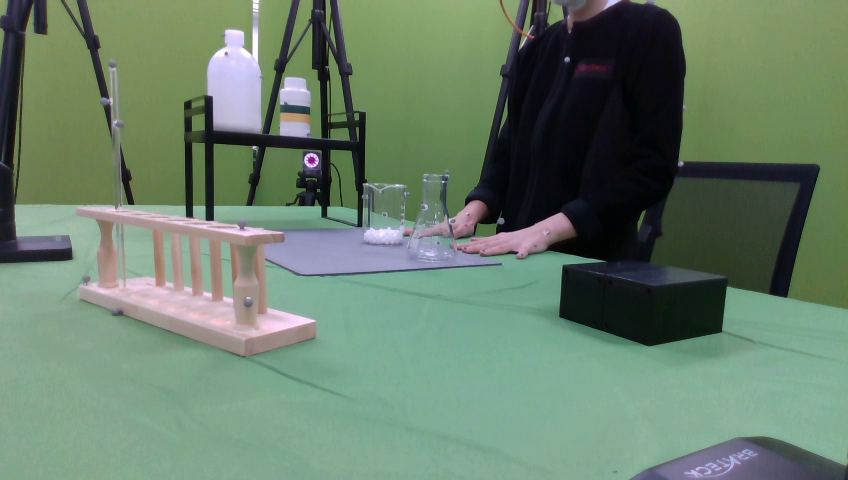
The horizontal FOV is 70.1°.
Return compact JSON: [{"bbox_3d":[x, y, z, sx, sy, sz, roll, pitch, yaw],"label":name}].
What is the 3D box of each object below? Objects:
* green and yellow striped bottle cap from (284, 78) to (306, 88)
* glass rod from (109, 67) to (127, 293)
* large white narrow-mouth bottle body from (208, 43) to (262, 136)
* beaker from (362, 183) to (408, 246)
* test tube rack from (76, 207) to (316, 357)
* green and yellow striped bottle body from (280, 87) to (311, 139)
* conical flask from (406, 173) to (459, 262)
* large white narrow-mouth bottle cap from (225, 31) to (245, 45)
[{"bbox_3d":[-0.268,-0.325,1.259,0.045,0.020,0.045,5,7,0],"label":"green and yellow striped bottle cap"},{"bbox_3d":[-0.268,-0.050,0.527,0.008,0.199,0.008,-1,3,0],"label":"glass rod"},{"bbox_3d":[-0.368,-0.304,1.181,0.102,0.194,0.101,3,9,0],"label":"large white narrow-mouth bottle body"},{"bbox_3d":[-0.066,-0.043,0.996,0.074,0.100,0.084,3,8,6],"label":"beaker"},{"bbox_3d":[-0.196,0.023,0.500,0.241,0.085,0.067,8,9,36],"label":"test tube rack"},{"bbox_3d":[-0.269,-0.274,1.266,0.063,0.119,0.063,3,7,0],"label":"green and yellow striped bottle body"},{"bbox_3d":[0.014,-0.033,0.851,0.075,0.122,0.075,2,7,0],"label":"conical flask"},{"bbox_3d":[-0.365,-0.388,1.166,0.038,0.024,0.037,3,9,0],"label":"large white narrow-mouth bottle cap"}]
